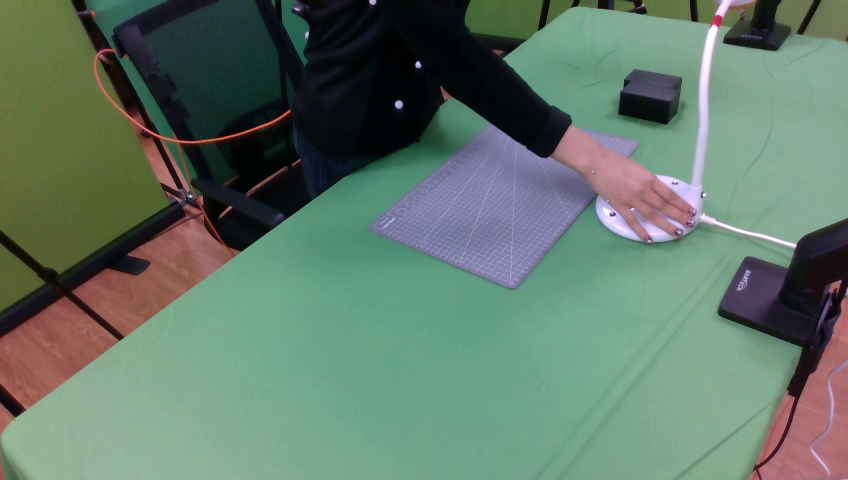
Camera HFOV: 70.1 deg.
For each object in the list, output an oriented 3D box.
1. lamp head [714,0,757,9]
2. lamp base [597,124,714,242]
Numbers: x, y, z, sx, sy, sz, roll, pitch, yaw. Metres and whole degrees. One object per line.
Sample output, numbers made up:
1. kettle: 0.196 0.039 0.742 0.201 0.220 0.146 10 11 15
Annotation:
1. lamp head: 0.427 -0.377 0.822 0.112 0.124 0.112 -14 43 14
2. lamp base: 0.361 -0.108 0.917 0.178 0.181 0.160 13 48 21
